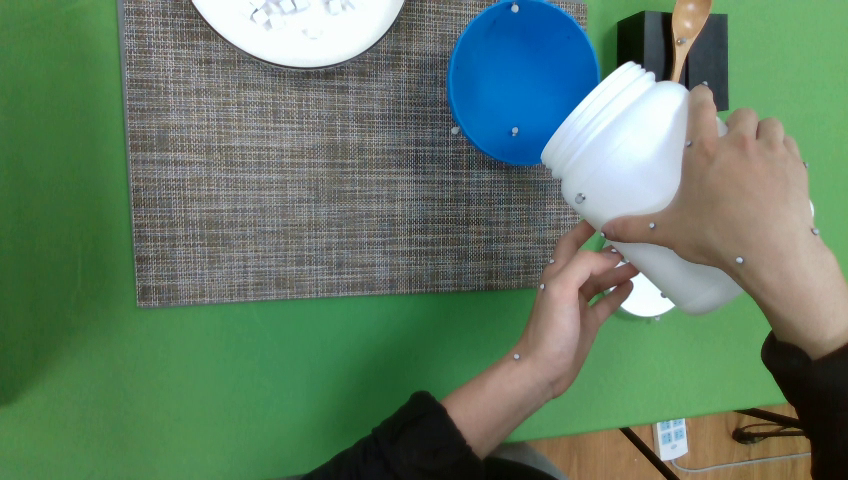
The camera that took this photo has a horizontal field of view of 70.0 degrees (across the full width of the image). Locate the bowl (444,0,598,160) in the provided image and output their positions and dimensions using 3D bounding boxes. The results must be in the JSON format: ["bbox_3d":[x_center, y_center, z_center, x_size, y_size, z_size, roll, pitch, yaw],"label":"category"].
[{"bbox_3d":[0.083,-0.151,0.589,0.152,0.076,0.151,-2,97,-15],"label":"bowl"}]

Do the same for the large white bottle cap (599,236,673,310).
[{"bbox_3d":[0.255,0.024,0.693,0.115,0.018,0.115,-2,97,-16],"label":"large white bottle cap"}]

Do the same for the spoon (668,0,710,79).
[{"bbox_3d":[0.251,-0.166,0.620,0.042,0.021,0.194,10,99,-19],"label":"spoon"}]

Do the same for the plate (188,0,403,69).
[{"bbox_3d":[-0.117,-0.256,0.543,0.210,0.038,0.209,-1,94,-16],"label":"plate"}]

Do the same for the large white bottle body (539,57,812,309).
[{"bbox_3d":[0.198,-0.049,0.501,0.130,0.131,0.184,-44,80,-7],"label":"large white bottle body"}]
